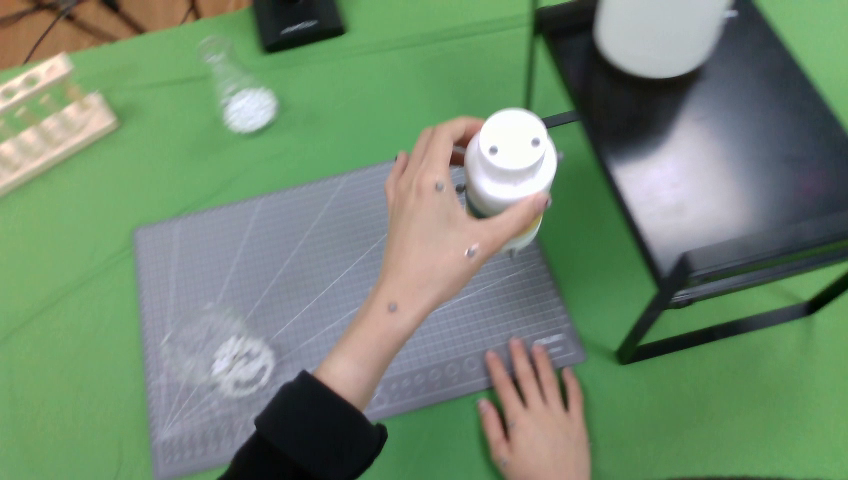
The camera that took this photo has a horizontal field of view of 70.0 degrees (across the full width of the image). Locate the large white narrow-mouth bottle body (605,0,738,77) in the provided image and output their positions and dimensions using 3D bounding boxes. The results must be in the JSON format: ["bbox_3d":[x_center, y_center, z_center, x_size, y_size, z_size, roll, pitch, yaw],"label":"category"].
[{"bbox_3d":[0.205,-0.225,0.470,0.102,0.196,0.101,-3,64,6],"label":"large white narrow-mouth bottle body"}]

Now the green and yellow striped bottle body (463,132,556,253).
[{"bbox_3d":[0.059,-0.040,0.438,0.063,0.120,0.062,-1,68,3],"label":"green and yellow striped bottle body"}]

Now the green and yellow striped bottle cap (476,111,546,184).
[{"bbox_3d":[0.056,-0.061,0.390,0.045,0.020,0.045,-1,70,2],"label":"green and yellow striped bottle cap"}]

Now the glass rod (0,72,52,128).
[{"bbox_3d":[-0.500,-0.198,0.703,0.008,0.201,0.008,-4,57,7],"label":"glass rod"}]

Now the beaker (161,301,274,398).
[{"bbox_3d":[-0.197,0.113,0.596,0.084,0.101,0.073,-5,64,3],"label":"beaker"}]

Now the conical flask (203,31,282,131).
[{"bbox_3d":[-0.225,-0.195,0.732,0.075,0.123,0.074,-2,64,5],"label":"conical flask"}]

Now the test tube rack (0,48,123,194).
[{"bbox_3d":[-0.513,-0.128,0.745,0.242,0.086,0.066,-35,67,-11],"label":"test tube rack"}]
